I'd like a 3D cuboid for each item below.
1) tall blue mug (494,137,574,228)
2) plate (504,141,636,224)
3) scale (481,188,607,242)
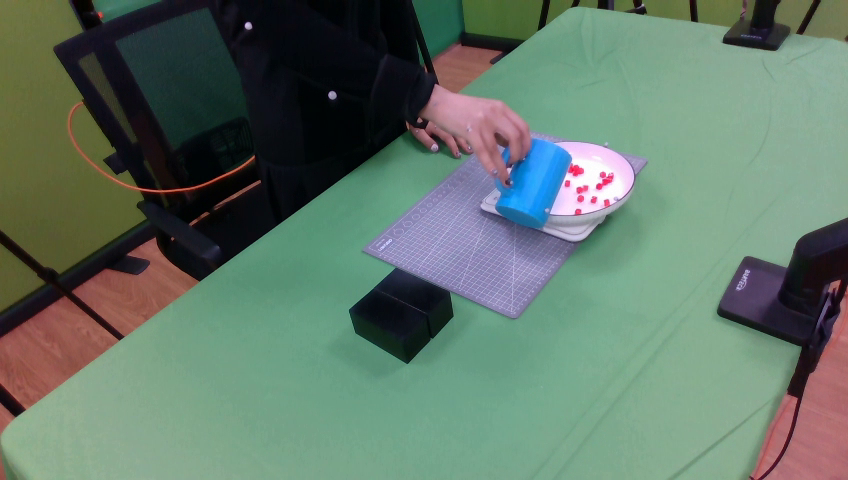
[{"bbox_3d":[0.152,-0.086,0.851,0.077,0.108,0.108,21,83,26],"label":"tall blue mug"},{"bbox_3d":[0.234,-0.091,0.983,0.209,0.038,0.208,-6,41,5],"label":"plate"},{"bbox_3d":[0.211,-0.070,1.014,0.199,0.032,0.149,23,49,33],"label":"scale"}]
